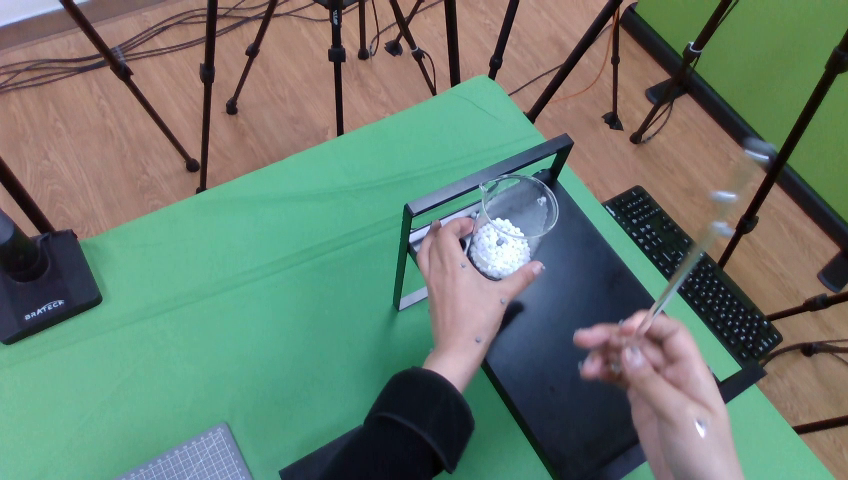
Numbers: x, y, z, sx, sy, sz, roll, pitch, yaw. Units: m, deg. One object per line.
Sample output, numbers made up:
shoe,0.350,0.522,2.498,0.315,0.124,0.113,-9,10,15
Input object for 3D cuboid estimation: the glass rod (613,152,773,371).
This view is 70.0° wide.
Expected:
glass rod,0.160,0.026,0.382,0.008,0.201,0.008,8,44,-7

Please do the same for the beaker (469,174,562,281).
beaker,0.085,-0.010,0.614,0.083,0.101,0.074,34,61,13
